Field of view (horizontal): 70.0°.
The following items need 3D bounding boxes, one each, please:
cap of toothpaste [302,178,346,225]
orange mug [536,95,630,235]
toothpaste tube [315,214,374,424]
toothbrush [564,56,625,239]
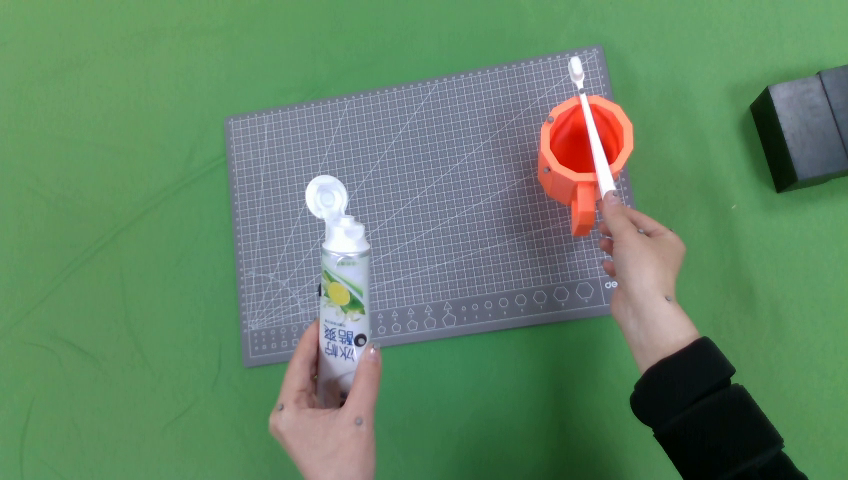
[{"bbox_3d":[-0.072,-0.029,0.448,0.037,0.011,0.037,5,82,-35],"label":"cap of toothpaste"},{"bbox_3d":[0.158,-0.071,0.612,0.083,0.101,0.125,-1,75,8],"label":"orange mug"},{"bbox_3d":[-0.062,0.061,0.457,0.054,0.034,0.166,10,108,28],"label":"toothpaste tube"},{"bbox_3d":[0.158,-0.088,0.561,0.014,0.017,0.181,-13,79,4],"label":"toothbrush"}]
